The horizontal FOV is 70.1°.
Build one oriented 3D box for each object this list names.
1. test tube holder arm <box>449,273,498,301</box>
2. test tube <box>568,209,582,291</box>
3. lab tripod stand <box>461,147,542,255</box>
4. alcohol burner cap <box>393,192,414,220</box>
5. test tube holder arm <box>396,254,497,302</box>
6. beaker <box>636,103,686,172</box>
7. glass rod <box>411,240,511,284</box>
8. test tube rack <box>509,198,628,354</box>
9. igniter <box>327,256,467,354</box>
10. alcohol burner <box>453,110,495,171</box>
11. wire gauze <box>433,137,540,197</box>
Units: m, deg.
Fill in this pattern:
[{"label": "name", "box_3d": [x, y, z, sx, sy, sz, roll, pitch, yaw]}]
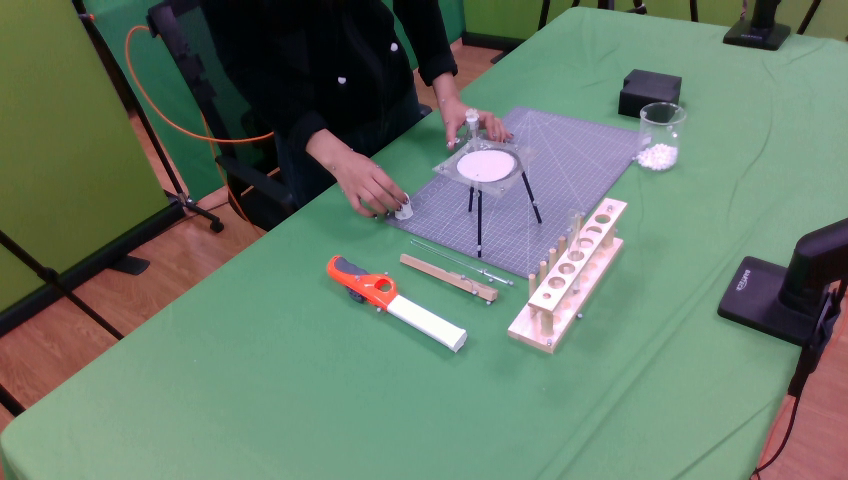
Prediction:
[{"label": "test tube holder arm", "box_3d": [0.070, 0.069, 0.895, 0.087, 0.015, 0.010, 21, 11, 32]}, {"label": "test tube", "box_3d": [0.200, 0.017, 0.799, 0.017, 0.151, 0.017, -8, 45, 8]}, {"label": "lab tripod stand", "box_3d": [0.114, -0.069, 0.953, 0.148, 0.132, 0.147, -5, 38, 4]}, {"label": "alcohol burner cap", "box_3d": [-0.037, -0.061, 1.043, 0.034, 0.048, 0.033, -6, 41, 5]}, {"label": "test tube holder arm", "box_3d": [0.030, 0.055, 0.912, 0.177, 0.015, 0.013, 21, 11, 29]}, {"label": "beaker", "box_3d": [0.413, -0.177, 1.055, 0.084, 0.101, 0.073, -28, 44, -21]}, {"label": "glass rod", "box_3d": [0.053, 0.033, 0.946, 0.198, 0.008, 0.008, 22, 50, 36]}, {"label": "test tube rack", "box_3d": [0.206, 0.039, 0.850, 0.066, 0.085, 0.243, 20, 48, 31]}, {"label": "igniter", "box_3d": [-0.051, 0.088, 0.886, 0.274, 0.025, 0.057, 27, 62, 35]}, {"label": "alcohol burner", "box_3d": [0.092, -0.187, 1.112, 0.078, 0.119, 0.077, -4, 41, 4]}, {"label": "wire gauze", "box_3d": [0.094, -0.116, 0.907, 0.124, 0.011, 0.122, 21, 47, 30]}]
